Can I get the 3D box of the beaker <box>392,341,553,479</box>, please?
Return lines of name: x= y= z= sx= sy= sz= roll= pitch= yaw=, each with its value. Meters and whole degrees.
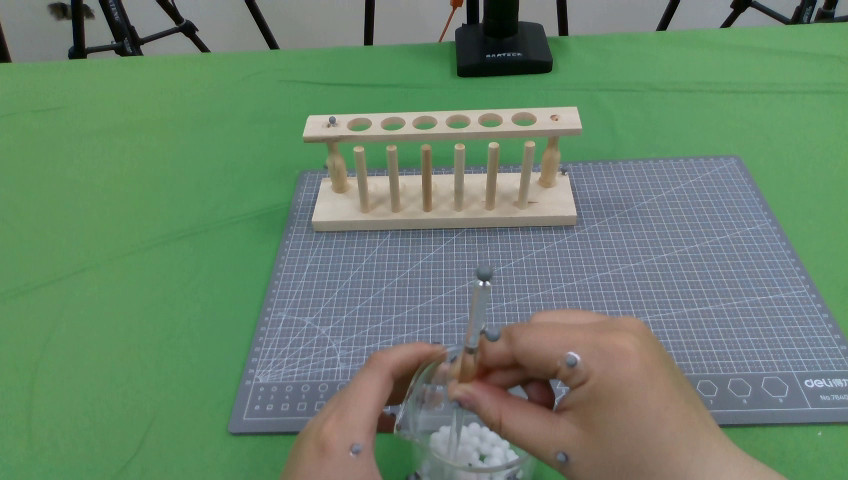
beaker: x=0.024 y=0.118 z=0.342 sx=0.084 sy=0.101 sz=0.073 roll=-12 pitch=46 yaw=-13

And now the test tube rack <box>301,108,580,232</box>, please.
test tube rack: x=0.015 y=-0.063 z=0.552 sx=0.242 sy=0.086 sz=0.066 roll=-1 pitch=44 yaw=3

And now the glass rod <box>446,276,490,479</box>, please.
glass rod: x=0.019 y=0.080 z=0.295 sx=0.008 sy=0.201 sz=0.008 roll=1 pitch=49 yaw=-1
